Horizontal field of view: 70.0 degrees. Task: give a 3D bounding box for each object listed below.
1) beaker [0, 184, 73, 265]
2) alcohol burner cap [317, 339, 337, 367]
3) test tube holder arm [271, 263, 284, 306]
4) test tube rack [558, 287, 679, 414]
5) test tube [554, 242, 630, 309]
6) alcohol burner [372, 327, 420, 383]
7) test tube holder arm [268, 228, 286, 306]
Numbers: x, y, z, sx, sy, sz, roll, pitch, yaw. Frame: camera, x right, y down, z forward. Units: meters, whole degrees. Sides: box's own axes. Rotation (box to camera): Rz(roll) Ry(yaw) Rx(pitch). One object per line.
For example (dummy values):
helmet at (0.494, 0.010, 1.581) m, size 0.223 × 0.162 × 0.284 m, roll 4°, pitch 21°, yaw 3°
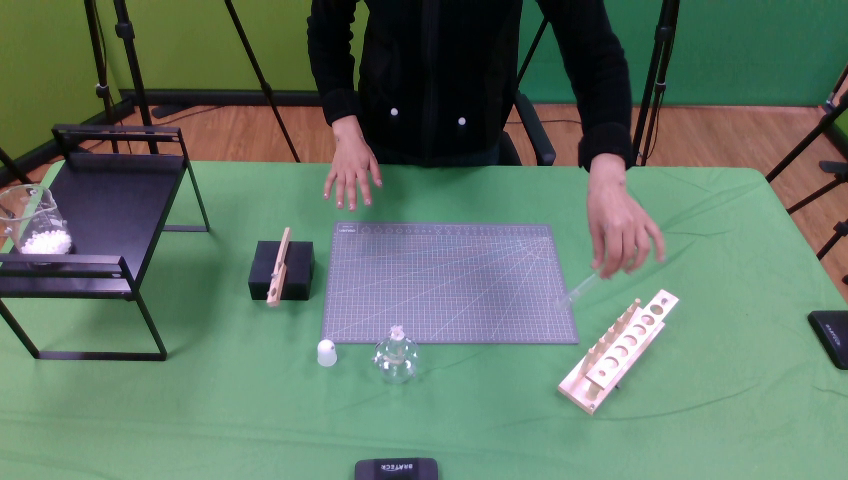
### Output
beaker at (-0.556, -0.019, 0.871) m, size 0.084 × 0.101 × 0.073 m, roll 3°, pitch 46°, yaw -2°
alcohol burner cap at (-0.161, 0.182, 0.995) m, size 0.034 × 0.048 × 0.033 m, roll 2°, pitch 47°, yaw -1°
test tube holder arm at (-0.250, 0.075, 1.040) m, size 0.010 × 0.015 × 0.087 m, roll -4°, pitch 46°, yaw 1°
test tube rack at (0.326, 0.170, 1.009) m, size 0.066 × 0.085 × 0.242 m, roll 36°, pitch 54°, yaw 27°
test tube at (0.253, 0.052, 0.904) m, size 0.150 × 0.017 × 0.017 m, roll -39°, pitch 58°, yaw -11°
alcohol burner at (-0.044, 0.175, 0.961) m, size 0.078 × 0.120 × 0.077 m, roll 1°, pitch 47°, yaw -1°
test tube holder arm at (-0.259, 0.043, 1.071) m, size 0.013 × 0.015 × 0.177 m, roll -5°, pitch 46°, yaw 0°
